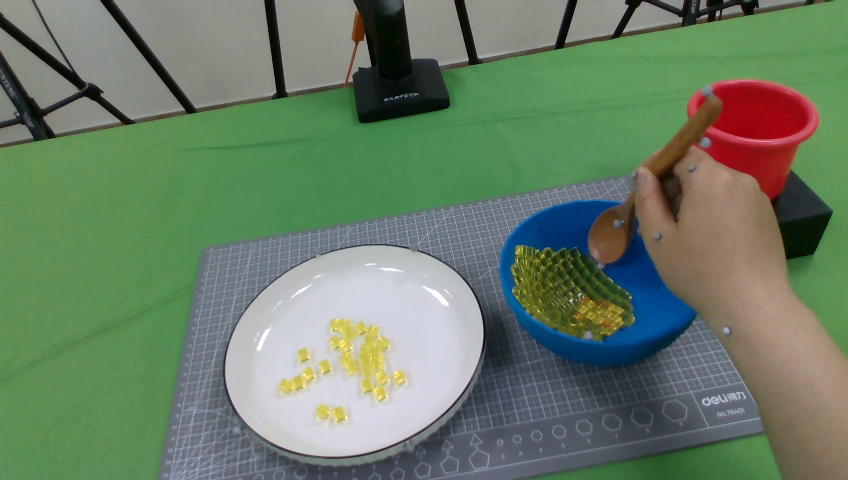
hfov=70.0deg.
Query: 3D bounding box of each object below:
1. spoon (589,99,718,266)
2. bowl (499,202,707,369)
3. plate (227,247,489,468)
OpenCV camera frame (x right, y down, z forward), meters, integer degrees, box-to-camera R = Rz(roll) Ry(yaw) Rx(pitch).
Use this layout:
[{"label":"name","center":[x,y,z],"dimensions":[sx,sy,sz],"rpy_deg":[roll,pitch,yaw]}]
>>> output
[{"label":"spoon","center":[0.151,-0.031,0.418],"dimensions":[0.021,0.195,0.041],"rpy_deg":[-9,66,-5]},{"label":"bowl","center":[0.135,0.048,0.476],"dimensions":[0.151,0.077,0.150],"rpy_deg":[-4,43,4]},{"label":"plate","center":[-0.051,0.090,0.491],"dimensions":[0.207,0.039,0.205],"rpy_deg":[-4,43,5]}]
